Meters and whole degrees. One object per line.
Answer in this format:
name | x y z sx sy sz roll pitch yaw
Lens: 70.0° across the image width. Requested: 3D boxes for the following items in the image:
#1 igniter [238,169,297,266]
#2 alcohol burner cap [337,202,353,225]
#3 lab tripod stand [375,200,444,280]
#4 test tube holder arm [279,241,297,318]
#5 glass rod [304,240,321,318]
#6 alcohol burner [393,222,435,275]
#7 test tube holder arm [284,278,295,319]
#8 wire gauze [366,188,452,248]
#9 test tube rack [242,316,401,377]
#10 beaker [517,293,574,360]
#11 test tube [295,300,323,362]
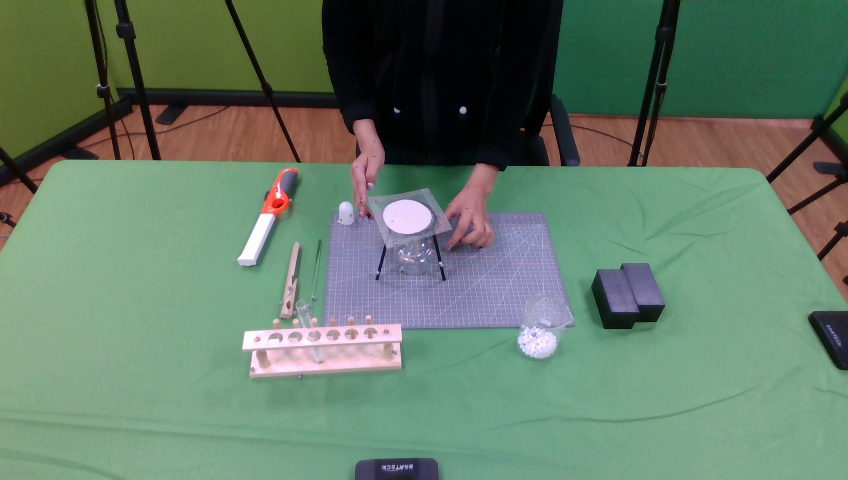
igniter | -0.313 -0.055 1.224 0.057 0.025 0.275 1 45 10
alcohol burner cap | -0.161 -0.056 1.223 0.034 0.048 0.033 2 46 -2
lab tripod stand | -0.023 0.004 1.113 0.148 0.132 0.147 4 45 -3
test tube holder arm | -0.249 0.069 1.113 0.013 0.015 0.177 25 38 -28
glass rod | -0.207 0.068 1.128 0.008 0.008 0.198 2 43 -2
alcohol burner | -0.018 0.009 1.122 0.078 0.119 0.077 2 48 -2
test tube holder arm | -0.242 0.103 1.085 0.010 0.015 0.087 26 38 -28
wire gauze | -0.028 -0.044 1.065 0.121 0.011 0.124 -12 49 -18
test tube rack | -0.161 0.166 0.983 0.242 0.085 0.066 -2 46 -6
beaker | 0.200 0.149 1.018 0.084 0.101 0.073 14 47 8
test tube | -0.176 0.143 0.935 0.017 0.151 0.017 -2 46 2
